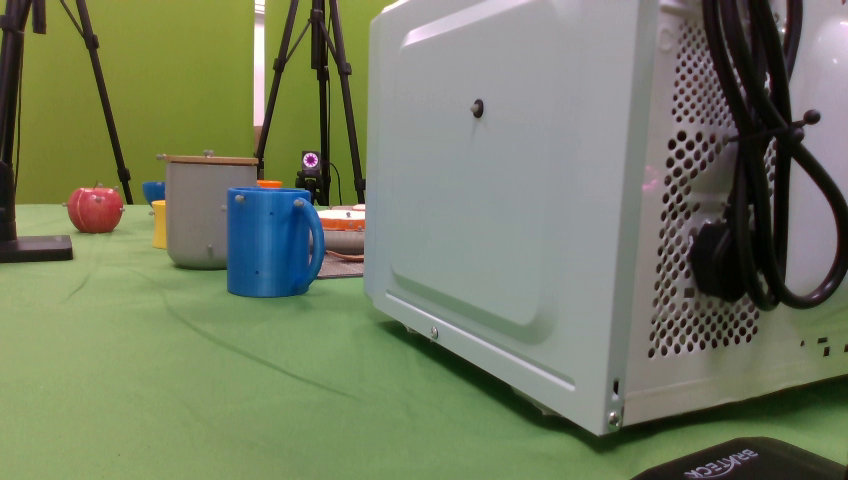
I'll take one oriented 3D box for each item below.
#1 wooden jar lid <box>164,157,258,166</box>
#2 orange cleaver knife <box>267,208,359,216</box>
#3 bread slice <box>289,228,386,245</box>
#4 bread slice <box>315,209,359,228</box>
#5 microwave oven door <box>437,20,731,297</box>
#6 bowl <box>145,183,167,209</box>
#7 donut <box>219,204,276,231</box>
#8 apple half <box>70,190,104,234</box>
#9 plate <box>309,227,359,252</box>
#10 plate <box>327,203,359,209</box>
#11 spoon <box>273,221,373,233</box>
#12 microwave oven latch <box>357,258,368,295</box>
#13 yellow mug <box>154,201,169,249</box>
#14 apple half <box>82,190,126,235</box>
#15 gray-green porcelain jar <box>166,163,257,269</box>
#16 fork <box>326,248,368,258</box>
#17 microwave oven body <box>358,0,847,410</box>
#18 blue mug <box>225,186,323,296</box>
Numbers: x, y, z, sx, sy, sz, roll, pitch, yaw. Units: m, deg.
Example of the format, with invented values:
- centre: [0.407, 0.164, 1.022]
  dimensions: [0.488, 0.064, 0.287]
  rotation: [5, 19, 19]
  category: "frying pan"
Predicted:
- centre: [-0.261, -0.093, 0.746]
  dimensions: [0.108, 0.020, 0.108]
  rotation: [0, 9, 0]
  category: "wooden jar lid"
- centre: [-0.259, -0.064, 1.423]
  dimensions: [0.212, 0.012, 0.077]
  rotation: [-4, 2, -30]
  category: "orange cleaver knife"
- centre: [-0.125, -0.007, 0.938]
  dimensions: [0.131, 0.019, 0.105]
  rotation: [3, 6, 31]
  category: "bread slice"
- centre: [-0.127, -0.034, 0.933]
  dimensions: [0.134, 0.018, 0.107]
  rotation: [3, 10, 28]
  category: "bread slice"
- centre: [0.181, -0.076, 0.618]
  dimensions: [0.358, 0.243, 0.039]
  rotation: [-2, 9, -28]
  category: "microwave oven door"
- centre: [-0.459, -0.068, 1.175]
  dimensions: [0.151, 0.077, 0.151]
  rotation: [2, 7, 0]
  category: "bowl"
- centre: [-0.316, -0.039, 1.083]
  dimensions: [0.099, 0.048, 0.099]
  rotation: [2, 7, 0]
  category: "donut"
- centre: [-0.552, -0.047, 1.009]
  dimensions: [0.053, 0.074, 0.081]
  rotation: [-1, 9, 26]
  category: "apple half"
- centre: [-0.130, -0.011, 0.945]
  dimensions: [0.208, 0.039, 0.207]
  rotation: [2, 7, 0]
  category: "plate"
- centre: [-0.102, -0.053, 1.299]
  dimensions: [0.209, 0.038, 0.209]
  rotation: [2, 8, 0]
  category: "plate"
- centre: [-0.180, -0.027, 1.109]
  dimensions: [0.195, 0.021, 0.041]
  rotation: [-4, -15, -33]
  category: "spoon"
- centre: [-0.019, 0.031, 0.529]
  dimensions: [0.079, 0.029, 0.030]
  rotation: [-1, 7, -26]
  category: "microwave oven latch"
- centre: [-0.338, -0.022, 0.899]
  dimensions: [0.130, 0.064, 0.100]
  rotation: [8, 9, 34]
  category: "yellow mug"
- centre: [-0.517, -0.046, 0.994]
  dimensions: [0.032, 0.081, 0.081]
  rotation: [0, 6, 26]
  category: "apple half"
- centre: [-0.263, -0.031, 0.754]
  dimensions: [0.106, 0.126, 0.106]
  rotation: [2, 7, 0]
  category: "gray-green porcelain jar"
- centre: [-0.032, 0.015, 0.835]
  dimensions: [0.208, 0.018, 0.028]
  rotation: [-3, 0, -23]
  category: "fork"
- centre: [0.210, -0.051, 0.471]
  dimensions: [0.444, 0.260, 0.324]
  rotation: [-1, 7, -28]
  category: "microwave oven body"
- centre: [-0.148, 0.000, 0.618]
  dimensions: [0.116, 0.106, 0.083]
  rotation: [7, 9, 33]
  category: "blue mug"
